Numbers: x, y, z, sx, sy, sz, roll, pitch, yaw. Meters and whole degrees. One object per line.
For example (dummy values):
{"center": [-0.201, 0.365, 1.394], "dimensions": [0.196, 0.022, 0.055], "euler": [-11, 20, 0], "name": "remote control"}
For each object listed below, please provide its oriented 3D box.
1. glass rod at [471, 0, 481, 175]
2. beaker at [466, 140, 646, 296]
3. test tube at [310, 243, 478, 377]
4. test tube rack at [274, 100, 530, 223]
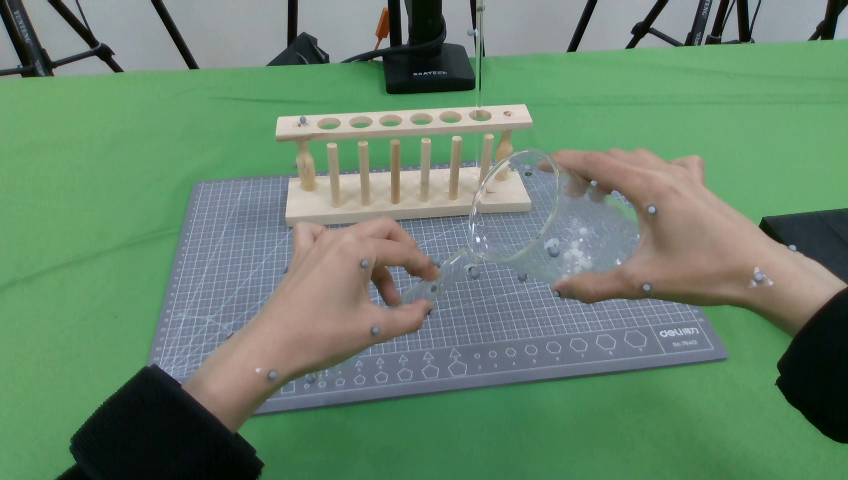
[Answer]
{"center": [0.050, -0.151, 0.579], "dimensions": [0.008, 0.201, 0.008], "euler": [-1, 35, 1], "name": "glass rod"}
{"center": [0.087, -0.007, 0.392], "dimensions": [0.101, 0.084, 0.073], "euler": [22, 34, -34], "name": "beaker"}
{"center": [-0.024, 0.050, 0.410], "dimensions": [0.150, 0.017, 0.017], "euler": [-39, 39, 20], "name": "test tube"}
{"center": [-0.018, -0.078, 0.596], "dimensions": [0.243, 0.086, 0.066], "euler": [-4, 42, -5], "name": "test tube rack"}
